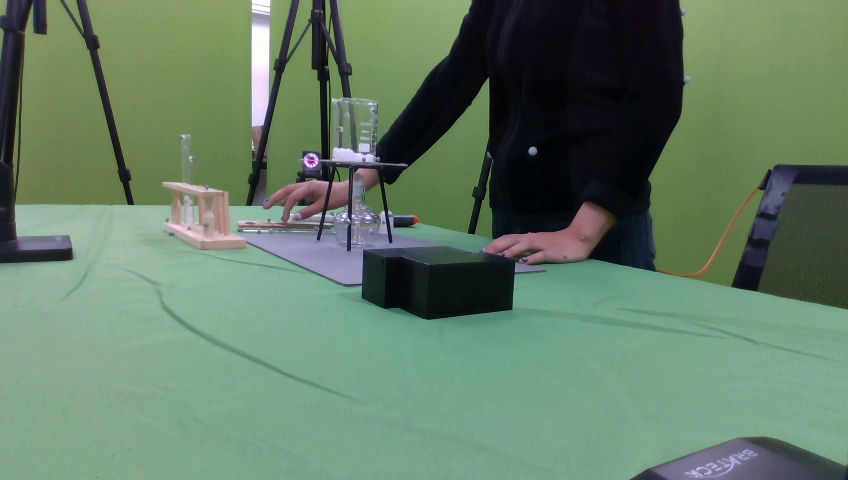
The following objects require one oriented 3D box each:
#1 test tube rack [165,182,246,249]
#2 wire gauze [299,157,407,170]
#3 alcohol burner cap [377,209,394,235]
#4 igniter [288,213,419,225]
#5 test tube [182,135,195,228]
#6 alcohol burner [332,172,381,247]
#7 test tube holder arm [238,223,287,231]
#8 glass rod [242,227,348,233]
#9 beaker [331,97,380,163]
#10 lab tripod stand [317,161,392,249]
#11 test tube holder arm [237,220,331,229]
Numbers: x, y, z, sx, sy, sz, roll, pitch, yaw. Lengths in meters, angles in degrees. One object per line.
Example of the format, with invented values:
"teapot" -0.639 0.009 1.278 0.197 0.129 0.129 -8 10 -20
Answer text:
"test tube rack" -0.360 -0.044 0.982 0.067 0.085 0.241 -3 9 -34
"wire gauze" -0.112 -0.124 0.959 0.121 0.011 0.126 13 11 40
"alcohol burner cap" -0.072 -0.035 1.145 0.034 0.048 0.034 2 8 0
"igniter" -0.145 -0.044 1.277 0.278 0.025 0.057 -1 -2 -22
"test tube" -0.382 -0.095 0.983 0.017 0.150 0.017 -1 2 0
"alcohol burner" -0.107 -0.048 0.961 0.078 0.119 0.078 1 9 0
"test tube holder arm" -0.297 -0.024 1.113 0.088 0.015 0.010 -1 41 -32
"glass rod" -0.231 -0.018 1.109 0.201 0.008 0.008 1 7 -29
"beaker" -0.111 -0.171 0.950 0.073 0.100 0.084 12 12 42
"lab tripod stand" -0.111 -0.059 0.964 0.148 0.131 0.148 4 8 0
"test tube holder arm" -0.260 -0.028 1.141 0.179 0.015 0.013 -1 41 -33
